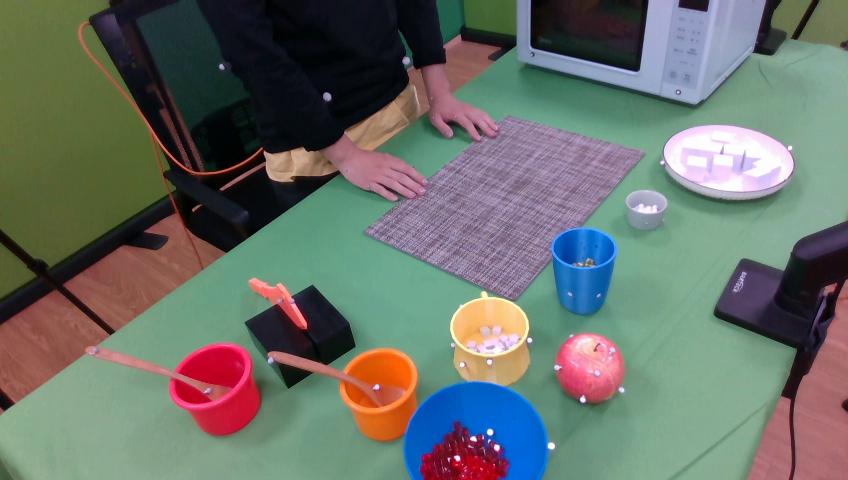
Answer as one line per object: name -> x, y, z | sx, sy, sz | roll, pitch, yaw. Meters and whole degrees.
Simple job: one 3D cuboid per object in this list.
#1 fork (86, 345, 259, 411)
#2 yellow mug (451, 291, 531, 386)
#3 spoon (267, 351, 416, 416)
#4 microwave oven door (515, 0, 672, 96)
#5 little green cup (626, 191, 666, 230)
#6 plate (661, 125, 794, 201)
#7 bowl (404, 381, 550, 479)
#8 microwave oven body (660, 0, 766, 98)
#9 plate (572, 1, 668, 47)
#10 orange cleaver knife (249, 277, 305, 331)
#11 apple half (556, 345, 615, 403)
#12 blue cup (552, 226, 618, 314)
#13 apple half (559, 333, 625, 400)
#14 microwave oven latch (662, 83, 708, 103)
fork -> -0.298, 0.166, 0.728 | 0.209, 0.018, 0.028 | 28, 47, -23
yellow mug -> 0.085, 0.120, 0.786 | 0.100, 0.064, 0.130 | -7, 39, 1
spoon -> -0.090, 0.162, 0.699 | 0.021, 0.195, 0.041 | -44, 30, 27
microwave oven door -> 0.343, -0.455, 1.259 | 0.353, 0.245, 0.039 | 26, 51, 33
little green cup -> 0.352, -0.046, 0.963 | 0.061, 0.039, 0.061 | -4, 40, 4
plate -> 0.513, -0.128, 1.035 | 0.207, 0.039, 0.206 | -4, 40, 4
bowl -> 0.058, 0.235, 0.645 | 0.151, 0.077, 0.150 | -4, 39, 4
microwave oven body -> 0.472, -0.513, 1.317 | 0.438, 0.261, 0.327 | 26, 51, 34
plate -> 0.441, -0.483, 1.366 | 0.209, 0.038, 0.208 | -5, 41, 5
orange cleaver knife -> -0.210, 0.088, 0.855 | 0.012, 0.077, 0.210 | -28, 15, -25
apple half -> 0.181, 0.167, 0.709 | 0.080, 0.081, 0.033 | 29, 50, 35
blue cup -> 0.218, 0.047, 0.826 | 0.092, 0.101, 0.092 | -6, 40, 5
apple half -> 0.209, 0.147, 0.730 | 0.080, 0.075, 0.053 | 26, 48, 38
microwave oven latch -> 0.518, -0.296, 1.204 | 0.078, 0.029, 0.030 | 28, 52, 35
